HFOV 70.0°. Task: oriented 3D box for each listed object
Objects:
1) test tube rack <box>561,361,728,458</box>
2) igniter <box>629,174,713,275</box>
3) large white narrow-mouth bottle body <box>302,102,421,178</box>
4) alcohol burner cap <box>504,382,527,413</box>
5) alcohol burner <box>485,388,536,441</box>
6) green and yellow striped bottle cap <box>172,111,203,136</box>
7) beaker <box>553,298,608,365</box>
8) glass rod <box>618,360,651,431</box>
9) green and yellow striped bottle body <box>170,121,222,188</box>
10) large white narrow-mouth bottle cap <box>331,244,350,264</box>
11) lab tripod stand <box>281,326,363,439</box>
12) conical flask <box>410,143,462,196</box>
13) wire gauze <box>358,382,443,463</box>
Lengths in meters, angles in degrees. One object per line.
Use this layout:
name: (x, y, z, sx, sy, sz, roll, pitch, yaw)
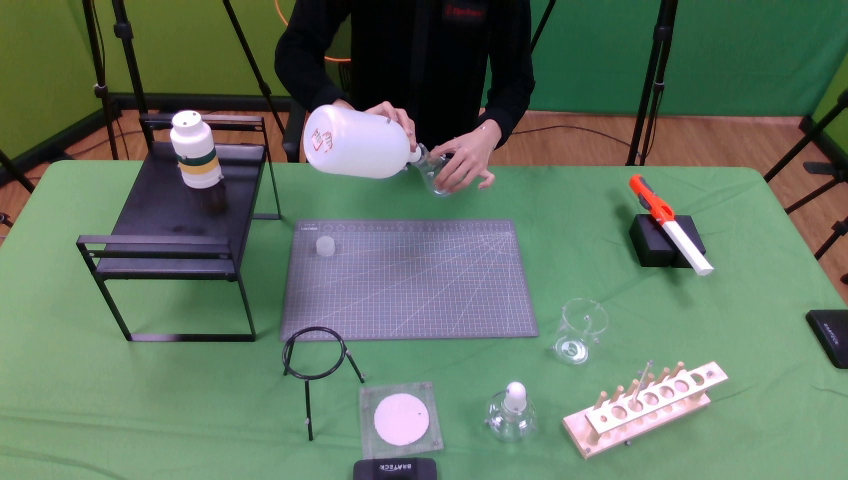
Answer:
test tube rack: (0.341, 0.248, 0.940, 0.243, 0.085, 0.066, -15, 49, -18)
igniter: (0.481, -0.040, 1.202, 0.057, 0.025, 0.274, -2, 46, -21)
large white narrow-mouth bottle body: (-0.087, -0.151, 0.958, 0.195, 0.102, 0.101, 5, 38, -41)
alcohol burner cap: (0.133, 0.225, 0.877, 0.034, 0.048, 0.033, -4, 47, 5)
alcohol burner: (0.131, 0.249, 0.904, 0.078, 0.120, 0.077, 1, 48, -1)
green and yellow striped bottle cap: (-0.374, -0.185, 0.957, 0.045, 0.020, 0.045, 4, 45, -3)
beaker: (0.260, 0.154, 1.015, 0.073, 0.101, 0.084, 37, 54, 27)
glass rod: (0.298, 0.226, 0.865, 0.008, 0.201, 0.008, -2, 48, 2)
green and yellow striped bottle body: (-0.375, -0.149, 0.995, 0.063, 0.120, 0.063, 2, 46, -2)
large white narrow-mouth bottle cap: (-0.160, 0.026, 1.161, 0.038, 0.024, 0.037, 4, 46, -4)
lab tripod stand: (-0.166, 0.203, 0.913, 0.148, 0.132, 0.147, 1, 47, -1)
conical flask: (0.013, -0.131, 1.077, 0.075, 0.122, 0.075, -8, 71, 25)
wire gauze: (-0.039, 0.276, 0.937, 0.121, 0.011, 0.124, -4, 47, -7)
